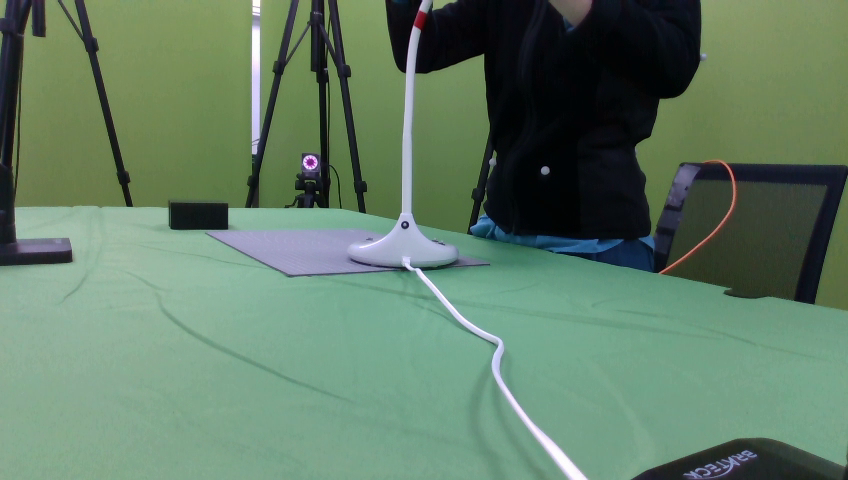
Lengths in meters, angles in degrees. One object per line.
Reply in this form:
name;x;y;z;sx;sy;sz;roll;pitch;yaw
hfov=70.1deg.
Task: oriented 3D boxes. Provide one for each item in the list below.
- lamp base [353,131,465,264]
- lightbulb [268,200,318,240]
lamp base;-0.015;-0.062;0.851;0.161;0.180;0.178;-1;11;-20
lightbulb;-0.227;-0.030;1.034;0.059;0.059;0.108;6;28;30
